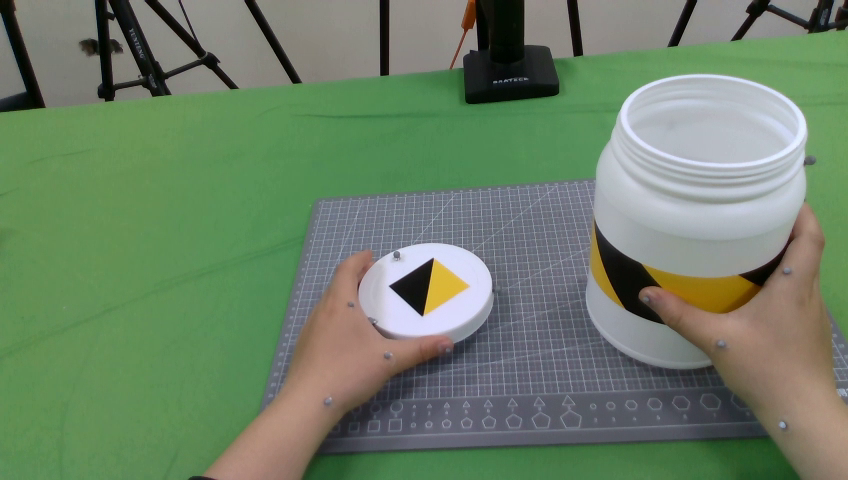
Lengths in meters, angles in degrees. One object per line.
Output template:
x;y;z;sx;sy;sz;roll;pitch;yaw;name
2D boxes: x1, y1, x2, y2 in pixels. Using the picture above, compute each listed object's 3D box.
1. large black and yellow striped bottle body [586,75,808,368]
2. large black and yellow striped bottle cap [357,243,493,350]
0.188;-0.010;0.437;0.131;0.186;0.129;-5;43;5;large black and yellow striped bottle body
0.001;0.044;0.513;0.115;0.019;0.114;-4;40;3;large black and yellow striped bottle cap
